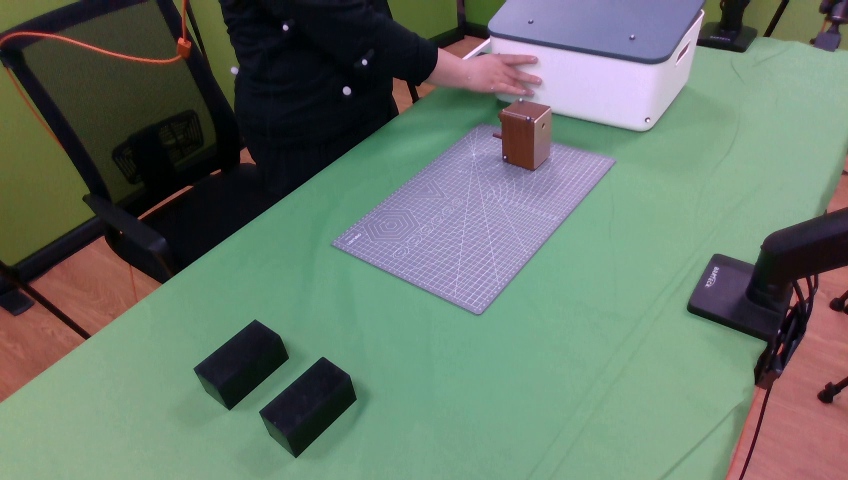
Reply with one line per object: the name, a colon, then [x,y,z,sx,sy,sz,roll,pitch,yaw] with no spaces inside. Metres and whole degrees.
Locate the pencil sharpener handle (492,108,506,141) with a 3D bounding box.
pencil sharpener handle: [0.141,-0.216,1.114,0.030,0.068,0.036,22,41,32]

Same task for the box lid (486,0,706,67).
box lid: [0.335,-0.447,1.184,0.369,0.015,0.263,21,60,28]

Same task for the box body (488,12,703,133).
box body: [0.346,-0.374,1.251,0.361,0.161,0.255,20,48,29]

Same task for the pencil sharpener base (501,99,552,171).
pencil sharpener base: [0.184,-0.191,1.097,0.076,0.107,0.061,22,49,32]
